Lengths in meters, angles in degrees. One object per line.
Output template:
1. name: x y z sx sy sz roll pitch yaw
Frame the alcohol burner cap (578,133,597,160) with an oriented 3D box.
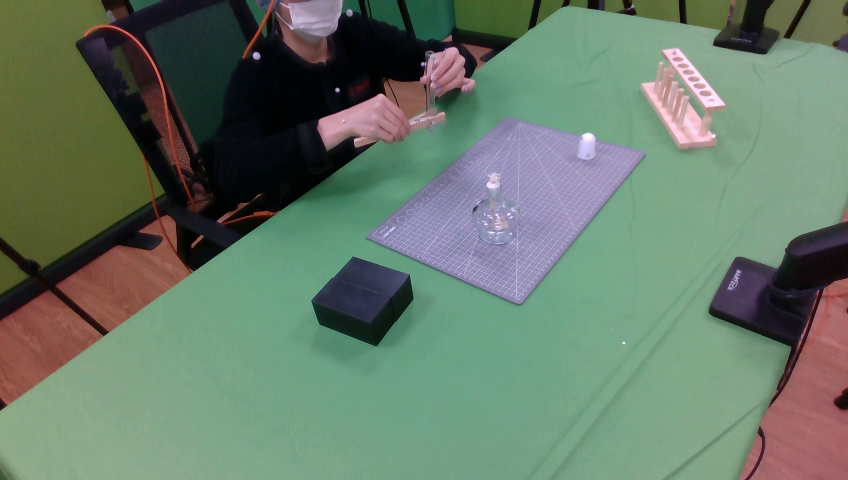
1. alcohol burner cap: 0.301 -0.174 1.111 0.034 0.048 0.033 -5 41 4

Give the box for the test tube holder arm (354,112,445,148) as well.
1. test tube holder arm: -0.040 -0.195 1.063 0.179 0.015 0.013 -23 44 -22

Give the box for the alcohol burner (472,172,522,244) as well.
1. alcohol burner: 0.112 -0.053 0.942 0.078 0.119 0.077 -6 40 5

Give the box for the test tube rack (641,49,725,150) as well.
1. test tube rack: 0.495 -0.279 1.175 0.067 0.085 0.241 -5 41 3

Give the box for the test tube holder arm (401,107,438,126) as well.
1. test tube holder arm: -0.008 -0.216 1.086 0.010 0.015 0.088 30 50 32

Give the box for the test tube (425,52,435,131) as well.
1. test tube: 0.011 -0.257 1.061 0.017 0.151 0.017 -1 42 1
